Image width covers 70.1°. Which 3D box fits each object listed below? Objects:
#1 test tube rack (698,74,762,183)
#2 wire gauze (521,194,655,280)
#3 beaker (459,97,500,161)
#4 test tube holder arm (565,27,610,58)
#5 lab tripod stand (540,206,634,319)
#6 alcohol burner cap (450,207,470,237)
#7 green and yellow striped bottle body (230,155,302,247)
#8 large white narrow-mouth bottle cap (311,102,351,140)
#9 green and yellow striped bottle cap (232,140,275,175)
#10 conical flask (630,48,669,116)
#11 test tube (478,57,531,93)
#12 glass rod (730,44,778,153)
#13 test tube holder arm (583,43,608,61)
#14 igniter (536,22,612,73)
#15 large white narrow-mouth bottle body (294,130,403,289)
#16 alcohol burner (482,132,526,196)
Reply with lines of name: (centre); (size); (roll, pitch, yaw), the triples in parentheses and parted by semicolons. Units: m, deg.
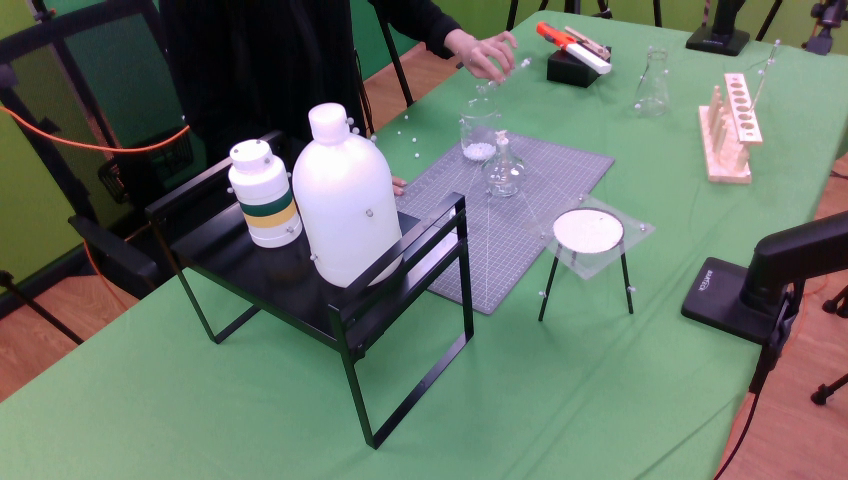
test tube rack: (0.547, -0.208, 1.095); (0.066, 0.085, 0.242); (5, 42, 15)
wire gauze: (0.207, -0.012, 0.772); (0.122, 0.011, 0.124); (-28, 44, -20)
beaker: (0.104, -0.208, 1.142); (0.074, 0.101, 0.083); (-20, 42, -15)
test tube holder arm: (0.369, -0.450, 1.373); (0.013, 0.015, 0.177); (-39, 41, 10)
lab tripod stand: (0.218, 0.034, 0.821); (0.148, 0.132, 0.147); (-4, 42, 4)
alcohol burner cap: (0.057, -0.032, 0.987); (0.034, 0.048, 0.033); (-4, 41, 4)
green and yellow striped bottle body: (-0.188, -0.055, 0.714); (0.063, 0.120, 0.063); (-4, 41, 4)
large white narrow-mouth bottle cap: (-0.089, -0.114, 0.579); (0.038, 0.024, 0.037); (-3, 40, 3)
green and yellow striped bottle cap: (-0.192, -0.094, 0.680); (0.045, 0.020, 0.045); (-5, 39, 5)
conical flask: (0.456, -0.317, 1.205); (0.075, 0.122, 0.075); (-4, 41, 4)
test tube: (0.153, -0.311, 1.135); (0.017, 0.017, 0.151); (28, 51, 34)
glass rod: (0.555, -0.233, 1.020); (0.008, 0.200, 0.008); (2, 40, -1)
test tube holder arm: (0.379, -0.420, 1.341); (0.010, 0.015, 0.087); (-39, 41, 10)
igniter: (0.330, -0.439, 1.366); (0.057, 0.025, 0.274); (-12, 41, -20)
large white narrow-mouth bottle body: (-0.082, -0.047, 0.634); (0.102, 0.195, 0.101); (-4, 40, 4)
alcohol burner: (0.137, -0.136, 1.042); (0.078, 0.119, 0.077); (-4, 43, 4)
